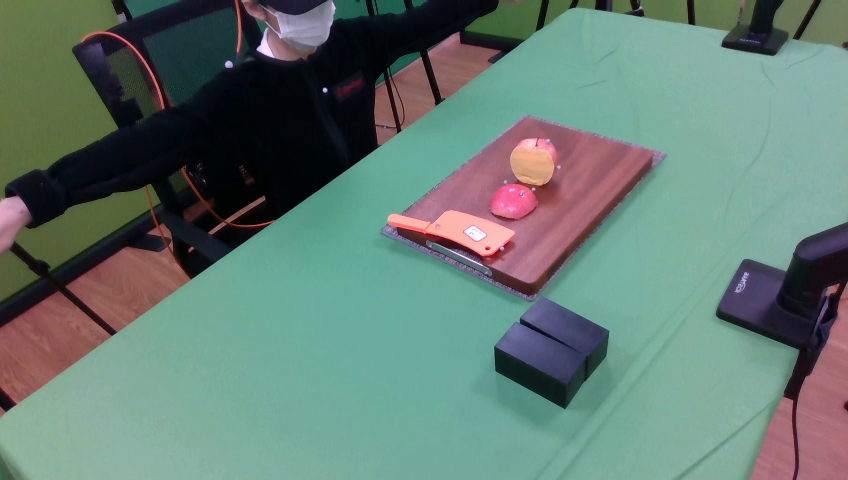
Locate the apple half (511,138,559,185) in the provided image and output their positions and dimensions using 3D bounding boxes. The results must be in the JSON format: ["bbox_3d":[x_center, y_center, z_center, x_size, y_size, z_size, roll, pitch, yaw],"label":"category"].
[{"bbox_3d":[0.192,-0.137,1.024,0.080,0.075,0.053,11,40,27],"label":"apple half"}]

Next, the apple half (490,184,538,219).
[{"bbox_3d":[0.145,-0.069,0.983,0.081,0.033,0.081,-4,38,3],"label":"apple half"}]

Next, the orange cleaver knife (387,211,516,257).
[{"bbox_3d":[0.040,-0.020,0.953,0.210,0.012,0.077,16,48,29],"label":"orange cleaver knife"}]
